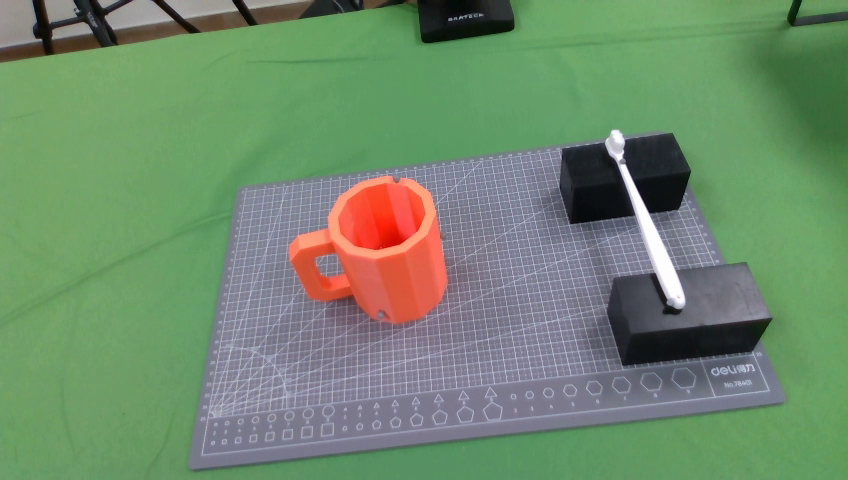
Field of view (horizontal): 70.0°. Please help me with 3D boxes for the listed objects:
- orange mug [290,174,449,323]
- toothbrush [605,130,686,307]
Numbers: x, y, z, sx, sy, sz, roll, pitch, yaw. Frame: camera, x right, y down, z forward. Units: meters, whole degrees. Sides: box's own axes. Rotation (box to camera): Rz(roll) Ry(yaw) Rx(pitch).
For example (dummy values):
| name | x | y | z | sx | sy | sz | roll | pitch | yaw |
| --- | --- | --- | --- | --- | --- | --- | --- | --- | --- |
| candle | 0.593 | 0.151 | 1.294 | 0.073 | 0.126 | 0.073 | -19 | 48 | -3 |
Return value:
| name | x | y | z | sx | sy | sz | roll | pitch | yaw |
| --- | --- | --- | --- | --- | --- | --- | --- | --- | --- |
| orange mug | -0.044 | 0.012 | 0.507 | 0.126 | 0.102 | 0.082 | -11 | 52 | -5 |
| toothbrush | 0.177 | -0.025 | 0.490 | 0.014 | 0.017 | 0.180 | 1 | 52 | -10 |
